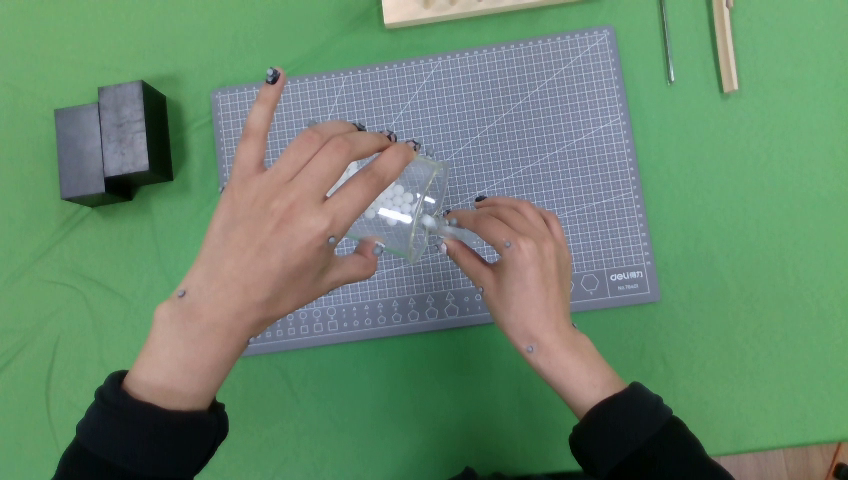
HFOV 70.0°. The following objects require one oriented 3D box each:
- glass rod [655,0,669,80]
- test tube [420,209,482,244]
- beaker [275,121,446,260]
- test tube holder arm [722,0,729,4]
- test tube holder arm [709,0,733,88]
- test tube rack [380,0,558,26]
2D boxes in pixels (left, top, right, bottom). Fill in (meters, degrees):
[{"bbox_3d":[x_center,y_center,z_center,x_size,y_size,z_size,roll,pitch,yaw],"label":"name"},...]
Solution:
[{"bbox_3d":[0.250,-0.269,0.652,0.008,0.008,0.199,-4,84,4],"label":"glass rod"},{"bbox_3d":[0.027,-0.009,0.522,0.017,0.151,0.017,-2,85,18],"label":"test tube"},{"bbox_3d":[-0.043,-0.036,0.421,0.100,0.084,0.074,19,83,9],"label":"beaker"},{"bbox_3d":[0.314,-0.293,0.645,0.010,0.015,0.087,1,84,-24],"label":"test tube holder arm"},{"bbox_3d":[0.310,-0.248,0.638,0.013,0.015,0.178,1,84,-24],"label":"test tube holder arm"},{"bbox_3d":[0.067,-0.291,0.632,0.242,0.085,0.066,-7,83,4],"label":"test tube rack"}]
